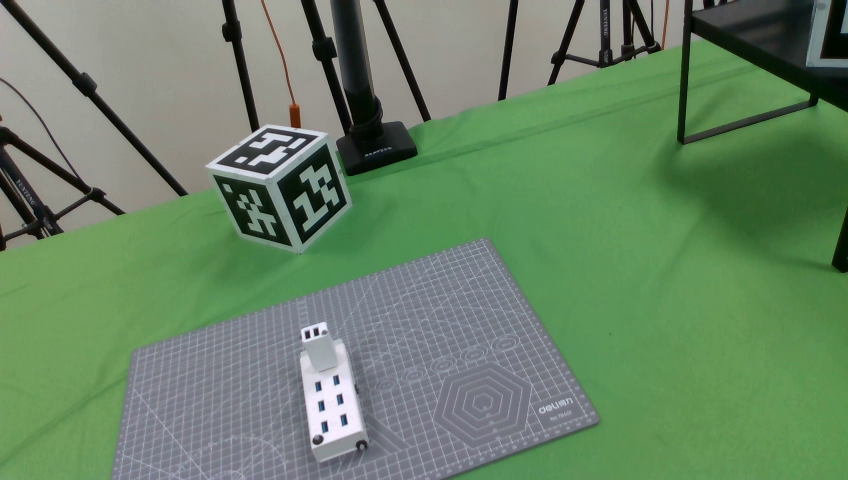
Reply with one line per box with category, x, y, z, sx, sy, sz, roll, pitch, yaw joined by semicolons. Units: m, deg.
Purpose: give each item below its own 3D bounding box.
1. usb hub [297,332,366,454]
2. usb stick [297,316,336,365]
usb hub;-0.094;0.146;0.596;0.049;0.025;0.123;-18;38;-5
usb stick;-0.105;0.105;0.603;0.027;0.060;0.021;-21;40;-7
